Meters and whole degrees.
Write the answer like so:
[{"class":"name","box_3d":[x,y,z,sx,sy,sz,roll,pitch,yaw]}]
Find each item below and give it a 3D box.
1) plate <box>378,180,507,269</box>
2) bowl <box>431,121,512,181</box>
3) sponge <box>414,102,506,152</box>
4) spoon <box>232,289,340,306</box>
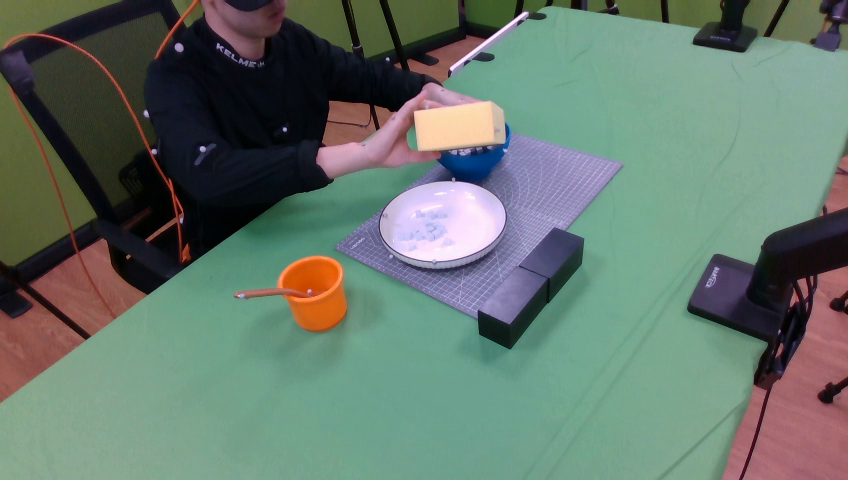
[{"class":"plate","box_3d":[0.031,-0.022,0.974,0.209,0.038,0.208,-4,40,4]},{"class":"bowl","box_3d":[0.084,-0.160,1.098,0.151,0.077,0.150,-4,39,3]},{"class":"sponge","box_3d":[0.065,-0.181,0.986,0.118,0.061,0.207,-5,8,13]},{"class":"spoon","box_3d":[-0.181,0.074,0.811,0.041,0.195,0.021,16,90,31]}]
